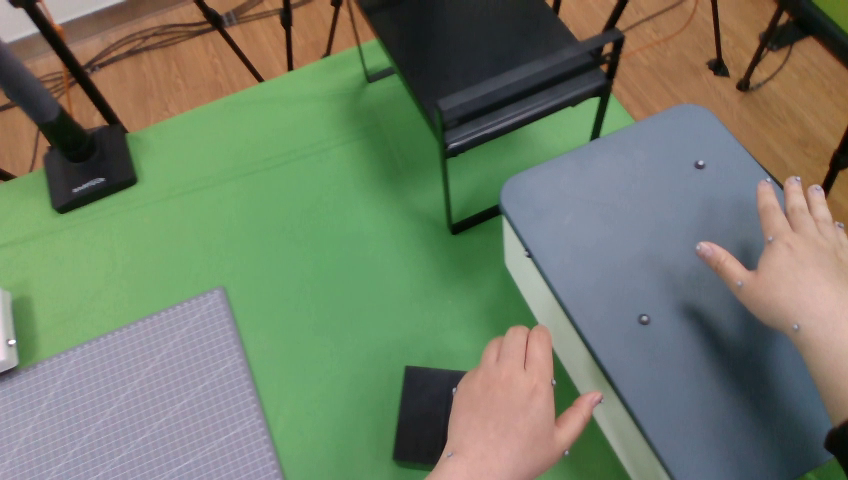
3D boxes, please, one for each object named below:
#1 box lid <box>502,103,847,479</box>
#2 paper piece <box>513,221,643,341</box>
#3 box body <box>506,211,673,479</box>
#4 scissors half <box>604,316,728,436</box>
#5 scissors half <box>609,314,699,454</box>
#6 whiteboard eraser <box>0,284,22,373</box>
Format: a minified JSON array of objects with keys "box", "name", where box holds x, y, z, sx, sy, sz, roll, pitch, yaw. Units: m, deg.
[{"box":[0.265,0.031,0.582,0.263,0.015,0.368,-23,62,-8],"name":"box lid"},{"box":[0.194,0.048,0.761,0.136,0.009,0.137,-11,74,-9],"name":"paper piece"},{"box":[0.271,0.068,0.647,0.254,0.162,0.360,-23,62,-8],"name":"box body"},{"box":[0.269,0.148,0.685,0.040,0.013,0.173,-33,59,-20],"name":"scissors half"},{"box":[0.250,0.156,0.681,0.040,0.013,0.173,-17,55,-3],"name":"scissors half"},{"box":[-0.539,0.114,0.758,0.055,0.042,0.111,-24,63,-7],"name":"whiteboard eraser"}]
